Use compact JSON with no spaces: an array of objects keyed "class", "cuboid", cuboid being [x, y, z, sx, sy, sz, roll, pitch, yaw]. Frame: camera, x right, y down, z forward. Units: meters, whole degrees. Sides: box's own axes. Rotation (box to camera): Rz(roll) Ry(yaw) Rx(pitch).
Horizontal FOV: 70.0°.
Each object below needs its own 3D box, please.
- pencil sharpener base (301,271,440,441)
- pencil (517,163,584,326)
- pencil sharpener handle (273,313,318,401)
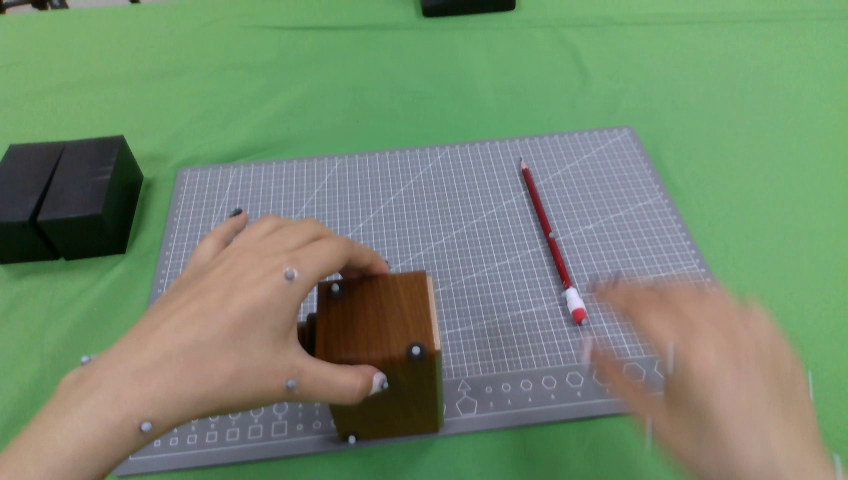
[{"class":"pencil sharpener base","cuboid":[-0.031,0.077,0.384,0.077,0.108,0.060,-6,49,-2]},{"class":"pencil","cuboid":[0.103,-0.006,0.520,0.012,0.012,0.192,-6,47,-5]},{"class":"pencil sharpener handle","cuboid":[-0.082,0.075,0.370,0.031,0.068,0.035,-6,39,-2]}]
